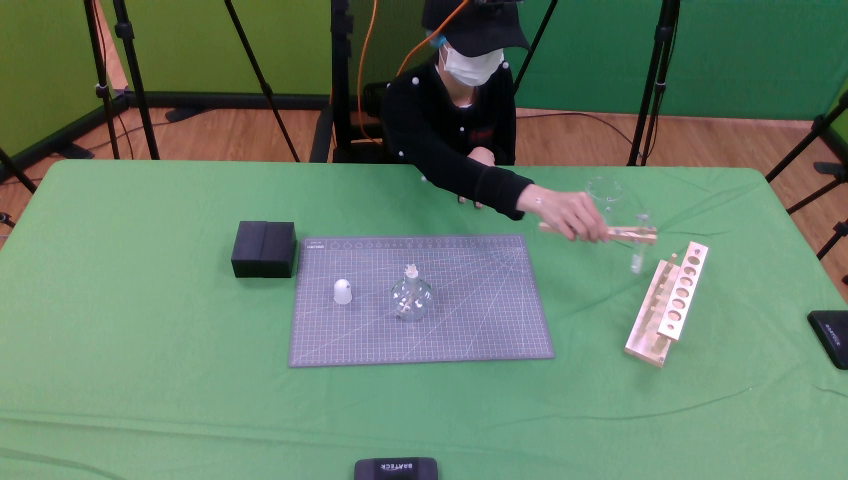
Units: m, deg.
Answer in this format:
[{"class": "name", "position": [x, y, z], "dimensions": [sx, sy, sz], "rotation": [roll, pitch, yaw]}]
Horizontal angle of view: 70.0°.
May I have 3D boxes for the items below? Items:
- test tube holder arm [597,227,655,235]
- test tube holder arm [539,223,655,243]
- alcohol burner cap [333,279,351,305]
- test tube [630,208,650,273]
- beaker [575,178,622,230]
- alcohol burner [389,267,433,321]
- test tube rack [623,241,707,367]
[{"class": "test tube holder arm", "position": [0.318, -0.013, 0.957], "dimensions": [0.088, 0.015, 0.010], "rotation": [0, 46, 12]}, {"class": "test tube holder arm", "position": [0.274, -0.011, 0.965], "dimensions": [0.178, 0.015, 0.013], "rotation": [5, 47, 16]}, {"class": "alcohol burner cap", "position": [-0.148, 0.090, 1.083], "dimensions": [0.034, 0.048, 0.033], "rotation": [3, 46, -3]}, {"class": "test tube", "position": [0.343, 0.004, 0.964], "dimensions": [0.017, 0.151, 0.017], "rotation": [-6, 49, 7]}, {"class": "beaker", "position": [0.356, -0.068, 1.240], "dimensions": [0.084, 0.101, 0.073], "rotation": [-18, 50, -21]}, {"class": "alcohol burner", "position": [-0.022, 0.086, 1.046], "dimensions": [0.078, 0.119, 0.077], "rotation": [2, 48, -3]}, {"class": "test tube rack", "position": [0.435, 0.104, 1.089], "dimensions": [0.066, 0.085, 0.242], "rotation": [24, 49, 19]}]
